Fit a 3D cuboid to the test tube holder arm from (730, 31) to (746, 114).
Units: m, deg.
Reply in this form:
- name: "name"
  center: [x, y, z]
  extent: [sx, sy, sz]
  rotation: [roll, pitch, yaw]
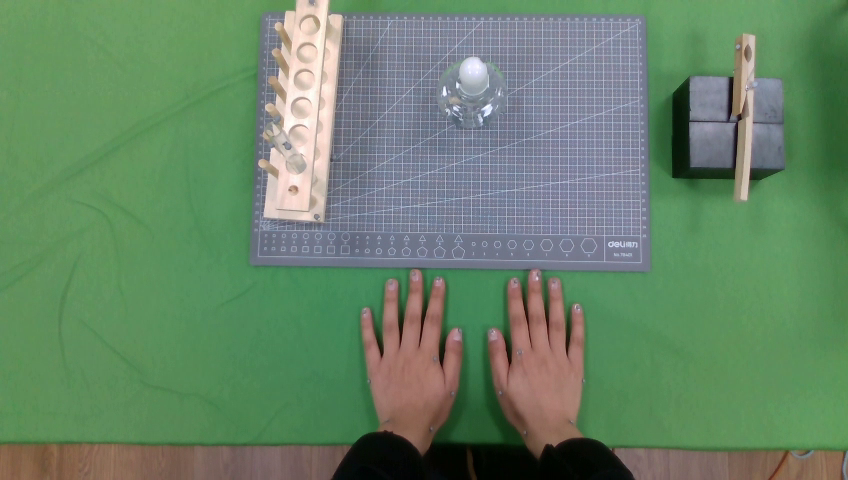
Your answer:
- name: "test tube holder arm"
  center: [0.332, -0.177, 0.641]
  extent: [0.010, 0.015, 0.087]
  rotation: [4, 85, -4]

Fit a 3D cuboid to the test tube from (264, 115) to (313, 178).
- name: "test tube"
  center: [-0.132, -0.088, 0.602]
  extent: [0.017, 0.151, 0.017]
  rotation: [0, 79, 1]

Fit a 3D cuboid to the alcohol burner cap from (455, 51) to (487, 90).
- name: "alcohol burner cap"
  center: [0.047, -0.172, 0.607]
  extent: [0.034, 0.048, 0.034]
  rotation: [0, 89, 3]

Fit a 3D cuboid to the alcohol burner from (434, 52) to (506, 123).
- name: "alcohol burner"
  center: [0.049, -0.168, 0.643]
  extent: [0.078, 0.119, 0.077]
  rotation: [0, 85, 2]

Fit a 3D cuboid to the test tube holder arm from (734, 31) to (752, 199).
- name: "test tube holder arm"
  center: [0.336, -0.132, 0.637]
  extent: [0.013, 0.015, 0.178]
  rotation: [3, 85, -5]

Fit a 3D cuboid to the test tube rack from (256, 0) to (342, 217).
- name: "test tube rack"
  center: [-0.140, -0.152, 0.658]
  extent: [0.067, 0.085, 0.241]
  rotation: [5, 84, 2]
